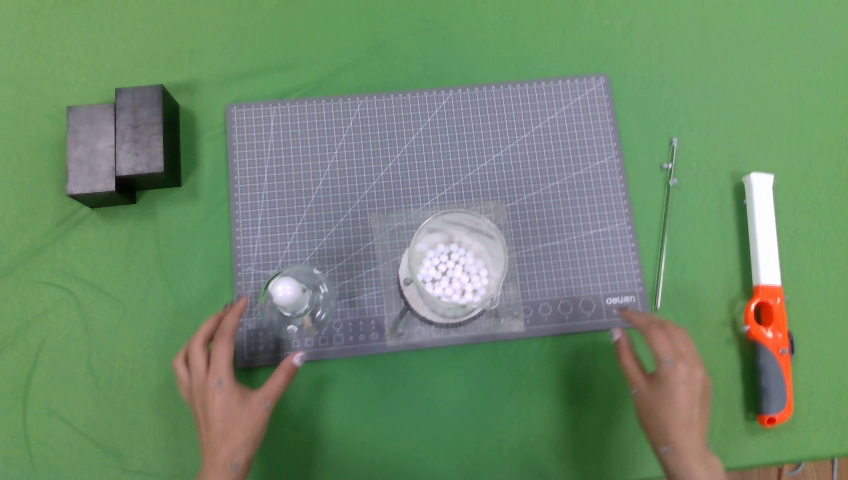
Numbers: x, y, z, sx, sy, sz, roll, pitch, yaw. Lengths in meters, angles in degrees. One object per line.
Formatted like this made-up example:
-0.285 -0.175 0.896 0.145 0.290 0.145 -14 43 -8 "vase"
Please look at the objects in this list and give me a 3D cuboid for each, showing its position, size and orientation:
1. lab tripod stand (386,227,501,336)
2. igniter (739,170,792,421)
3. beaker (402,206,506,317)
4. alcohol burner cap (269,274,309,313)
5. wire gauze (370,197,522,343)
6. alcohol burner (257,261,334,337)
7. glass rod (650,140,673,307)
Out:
0.016 0.042 0.601 0.148 0.132 0.147 0 77 0 "lab tripod stand"
0.375 0.057 0.669 0.057 0.025 0.275 4 78 -12 "igniter"
0.024 0.025 0.489 0.074 0.100 0.083 -37 80 -9 "beaker"
-0.128 0.049 0.567 0.034 0.048 0.033 0 74 0 "alcohol burner cap"
0.019 0.025 0.537 0.125 0.011 0.121 -7 77 -1 "wire gauze"
-0.130 0.056 0.603 0.078 0.119 0.077 1 76 -2 "alcohol burner"
0.271 -0.022 0.691 0.008 0.008 0.199 11 78 0 "glass rod"
